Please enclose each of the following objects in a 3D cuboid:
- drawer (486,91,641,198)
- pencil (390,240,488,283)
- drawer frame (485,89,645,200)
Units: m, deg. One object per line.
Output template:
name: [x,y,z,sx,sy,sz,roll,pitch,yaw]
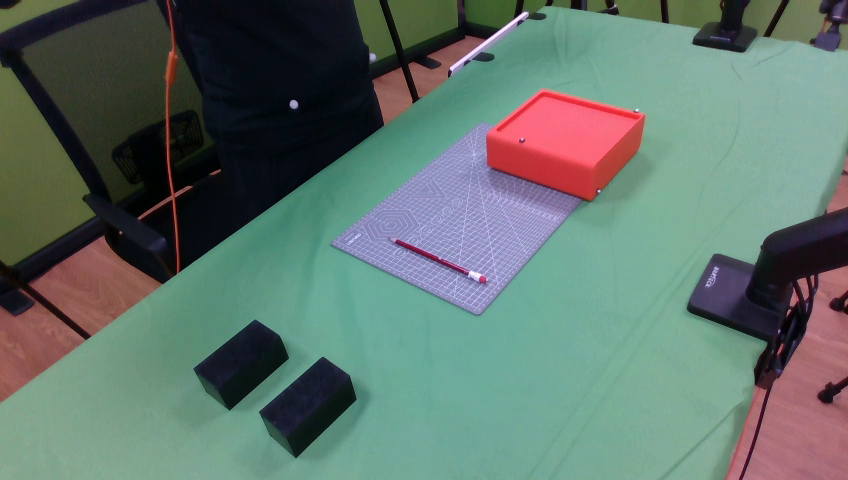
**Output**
drawer: [0.251,-0.178,1.095,0.210,0.073,0.195,25,48,30]
pencil: [0.018,0.030,0.938,0.192,0.012,0.012,22,48,33]
drawer frame: [0.254,-0.179,1.094,0.212,0.083,0.202,24,48,30]
